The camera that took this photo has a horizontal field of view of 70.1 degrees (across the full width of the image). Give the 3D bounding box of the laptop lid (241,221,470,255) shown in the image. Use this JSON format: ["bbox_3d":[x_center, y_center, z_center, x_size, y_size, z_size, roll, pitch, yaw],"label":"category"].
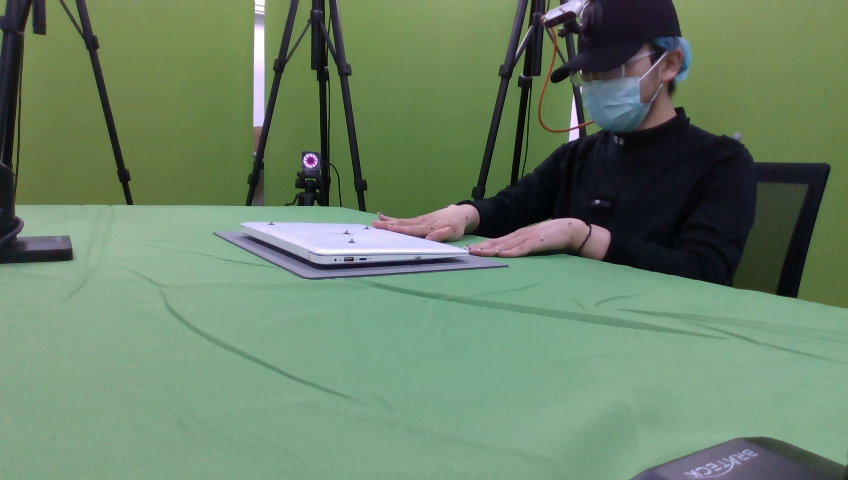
[{"bbox_3d":[-0.121,-0.007,0.936,0.243,0.013,0.355,1,7,-31],"label":"laptop lid"}]

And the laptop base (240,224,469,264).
[{"bbox_3d":[-0.123,0.005,0.936,0.237,0.023,0.352,2,6,-33],"label":"laptop base"}]
